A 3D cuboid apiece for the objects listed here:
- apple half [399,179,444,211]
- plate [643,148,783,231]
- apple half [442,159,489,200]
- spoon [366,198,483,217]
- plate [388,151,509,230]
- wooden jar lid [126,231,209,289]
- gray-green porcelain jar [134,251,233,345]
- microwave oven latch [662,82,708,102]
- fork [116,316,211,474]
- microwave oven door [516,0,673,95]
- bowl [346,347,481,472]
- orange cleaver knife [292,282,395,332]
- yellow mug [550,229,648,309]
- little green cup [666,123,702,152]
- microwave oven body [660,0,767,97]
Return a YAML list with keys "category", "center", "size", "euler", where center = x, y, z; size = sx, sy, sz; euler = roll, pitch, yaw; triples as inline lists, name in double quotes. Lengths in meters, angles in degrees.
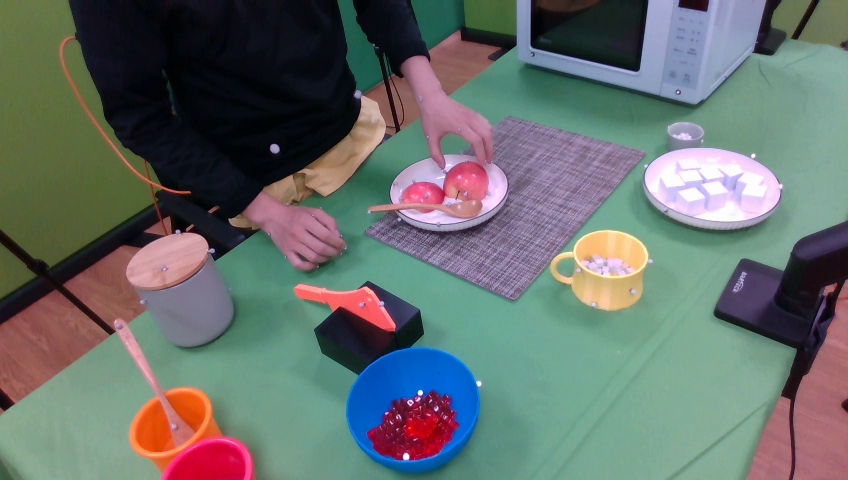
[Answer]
- category: "apple half"
  center: [-0.004, -0.088, 1.045]
  size: [0.081, 0.033, 0.081]
  euler: [-2, 43, 3]
- category: "plate"
  center: [0.464, -0.079, 0.986]
  size: [0.207, 0.039, 0.206]
  euler: [-4, 40, 4]
- category: "apple half"
  center: [0.074, -0.110, 1.047]
  size: [0.080, 0.053, 0.075]
  euler: [22, 46, 30]
- category: "spoon"
  center: [0.001, -0.056, 0.998]
  size: [0.194, 0.022, 0.041]
  euler: [2, 51, -9]
- category: "plate"
  center: [0.044, -0.083, 1.042]
  size: [0.209, 0.038, 0.208]
  euler: [-4, 40, 4]
- category: "wooden jar lid"
  center: [-0.340, 0.030, 0.808]
  size: [0.108, 0.021, 0.108]
  euler: [-5, 39, 5]
- category: "gray-green porcelain jar"
  center: [-0.334, 0.076, 0.849]
  size: [0.106, 0.127, 0.105]
  euler: [-4, 41, 4]
- category: "microwave oven latch"
  center: [0.517, -0.298, 1.203]
  size: [0.078, 0.029, 0.030]
  euler: [28, 52, 35]
- category: "fork"
  center: [-0.308, 0.179, 0.708]
  size: [0.028, 0.018, 0.207]
  euler: [-30, 89, -15]
- category: "microwave oven door"
  center: [0.344, -0.458, 1.256]
  size: [0.353, 0.245, 0.039]
  euler: [26, 51, 33]
- category: "bowl"
  center: [-0.008, 0.205, 0.691]
  size: [0.151, 0.077, 0.150]
  euler: [-4, 40, 4]
- category: "orange cleaver knife"
  center: [-0.116, 0.091, 0.835]
  size: [0.209, 0.077, 0.012]
  euler: [2, 32, 48]
- category: "yellow mug"
  center: [0.245, 0.040, 0.857]
  size: [0.130, 0.064, 0.099]
  euler: [1, 42, 11]
- category: "little green cup"
  center: [0.472, -0.183, 1.102]
  size: [0.061, 0.039, 0.061]
  euler: [-5, 41, 5]
- category: "microwave oven body"
  center: [0.473, -0.517, 1.314]
  size: [0.438, 0.261, 0.327]
  euler: [26, 51, 34]
